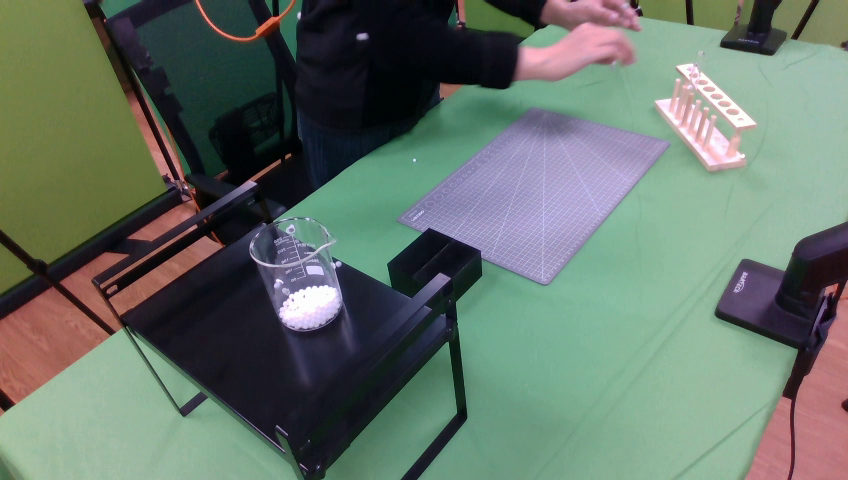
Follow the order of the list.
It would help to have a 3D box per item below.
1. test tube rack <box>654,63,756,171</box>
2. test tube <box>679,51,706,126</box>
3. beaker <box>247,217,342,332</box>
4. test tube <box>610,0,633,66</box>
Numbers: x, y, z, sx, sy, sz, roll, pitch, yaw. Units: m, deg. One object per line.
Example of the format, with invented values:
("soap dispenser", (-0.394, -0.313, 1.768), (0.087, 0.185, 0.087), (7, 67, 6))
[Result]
("test tube rack", (0.510, -0.233, 1.120), (0.067, 0.085, 0.241), (-8, 41, -1))
("test tube", (0.488, -0.273, 1.101), (0.017, 0.151, 0.017), (-3, 43, 3))
("beaker", (-0.124, 0.037, 0.614), (0.084, 0.101, 0.073), (-7, 41, 0))
("test tube", (0.354, -0.384, 1.076), (0.017, 0.150, 0.017), (1, 39, 0))
